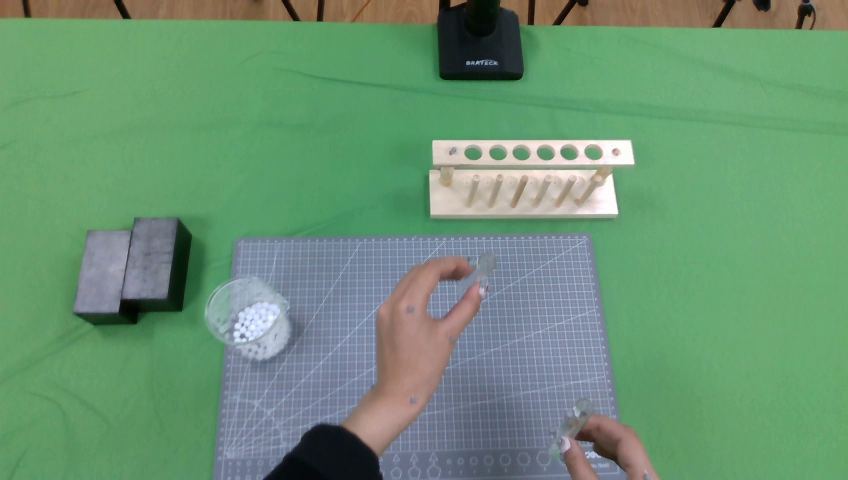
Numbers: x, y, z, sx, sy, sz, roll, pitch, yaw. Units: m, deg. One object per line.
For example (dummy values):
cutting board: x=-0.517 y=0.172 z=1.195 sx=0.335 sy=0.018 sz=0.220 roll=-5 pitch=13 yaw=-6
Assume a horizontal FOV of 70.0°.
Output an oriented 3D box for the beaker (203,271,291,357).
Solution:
beaker: x=-0.186 y=0.084 z=0.664 sx=0.084 sy=0.101 sz=0.073 roll=-8 pitch=69 yaw=-7

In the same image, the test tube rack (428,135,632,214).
test tube rack: x=0.128 y=-0.080 z=0.759 sx=0.242 sy=0.085 sz=0.066 roll=0 pitch=68 yaw=-3

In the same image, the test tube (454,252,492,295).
test tube: x=0.043 y=0.033 z=0.560 sx=0.017 sy=0.150 sz=0.017 roll=1 pitch=77 yaw=-4

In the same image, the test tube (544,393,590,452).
test tube: x=0.127 y=0.168 z=0.548 sx=0.017 sy=0.152 sz=0.017 roll=0 pitch=58 yaw=1
